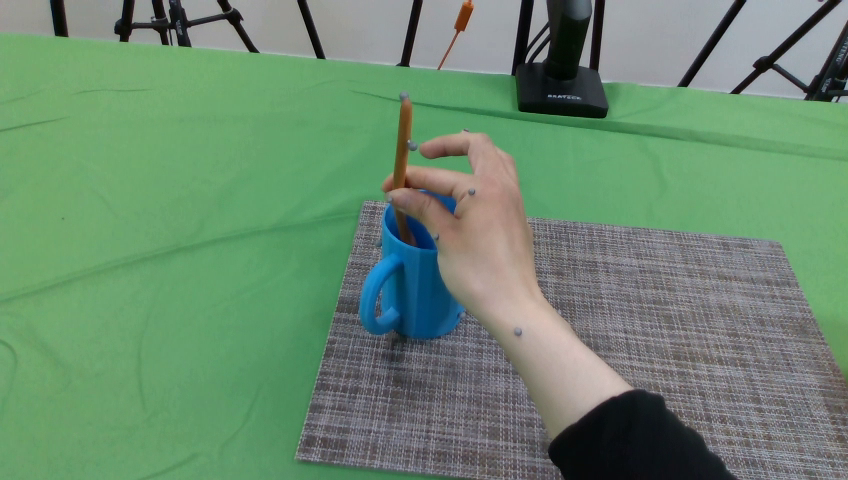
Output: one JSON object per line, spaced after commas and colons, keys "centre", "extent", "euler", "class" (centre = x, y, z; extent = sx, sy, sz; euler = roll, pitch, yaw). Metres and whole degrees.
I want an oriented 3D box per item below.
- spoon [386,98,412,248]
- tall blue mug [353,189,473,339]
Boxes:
{"centre": [-0.020, -0.024, 0.452], "extent": [0.021, 0.195, 0.041], "euler": [0, 50, 1], "class": "spoon"}
{"centre": [-0.007, 0.032, 0.506], "extent": [0.077, 0.109, 0.106], "euler": [12, 44, 7], "class": "tall blue mug"}
